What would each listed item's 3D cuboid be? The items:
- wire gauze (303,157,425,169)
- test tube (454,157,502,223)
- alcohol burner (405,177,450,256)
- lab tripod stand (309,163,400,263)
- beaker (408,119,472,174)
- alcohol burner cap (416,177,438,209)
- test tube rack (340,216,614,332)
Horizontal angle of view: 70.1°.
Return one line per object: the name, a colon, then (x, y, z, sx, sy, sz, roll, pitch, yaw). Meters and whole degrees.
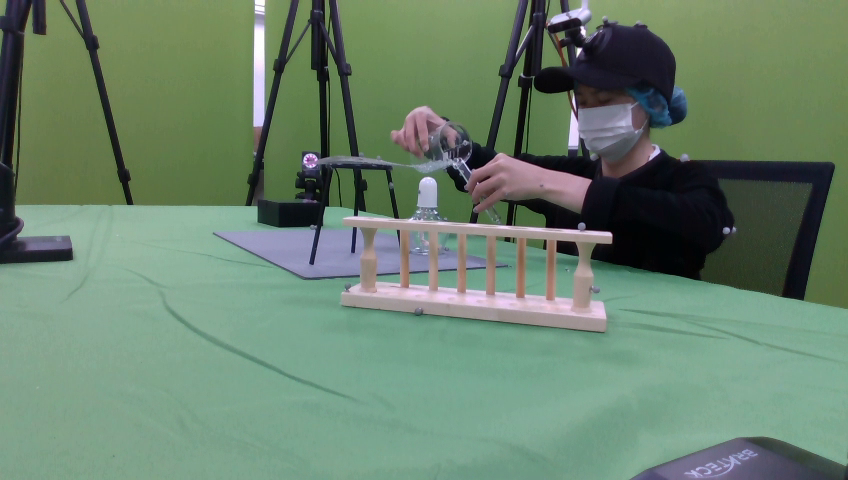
wire gauze: (-0.082, -0.102, 0.799, 0.126, 0.011, 0.121, -1, 7, -30)
test tube: (0.086, -0.082, 0.976, 0.017, 0.017, 0.149, -2, 46, -32)
alcohol burner: (0.004, -0.036, 0.917, 0.078, 0.119, 0.078, 3, 6, 0)
lab tripod stand: (-0.091, -0.037, 0.813, 0.148, 0.131, 0.148, 1, 6, 0)
beaker: (0.025, -0.157, 1.060, 0.074, 0.084, 0.100, -3, -7, -36)
alcohol burner cap: (0.005, -0.072, 0.914, 0.034, 0.048, 0.034, 3, 10, 0)
test tube rack: (0.048, 0.026, 0.568, 0.242, 0.085, 0.067, 4, 8, 13)
